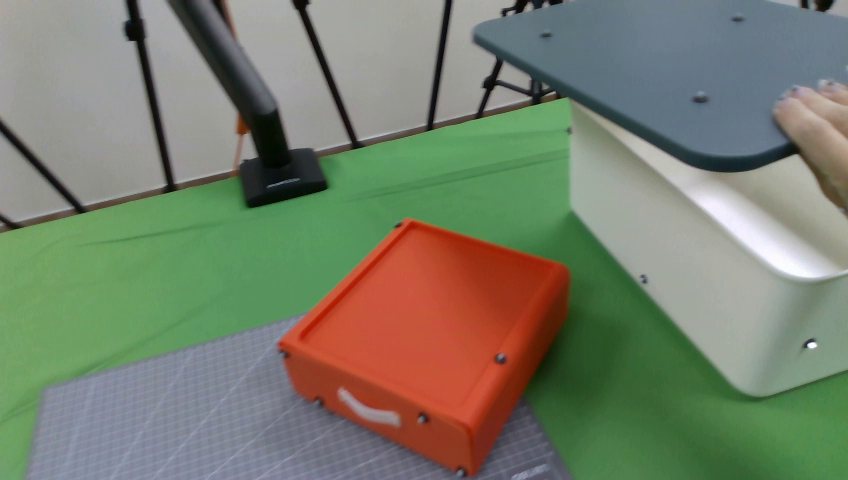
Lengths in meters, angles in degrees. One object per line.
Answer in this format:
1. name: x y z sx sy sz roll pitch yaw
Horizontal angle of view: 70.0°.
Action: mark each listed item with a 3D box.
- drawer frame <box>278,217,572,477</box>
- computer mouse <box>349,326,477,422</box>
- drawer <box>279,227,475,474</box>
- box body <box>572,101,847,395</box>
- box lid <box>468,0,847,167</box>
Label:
1. drawer frame: 0.008 0.085 0.585 0.200 0.083 0.213 17 43 27
2. computer mouse: -0.010 0.121 0.567 0.116 0.041 0.062 22 42 23
3. drawer: 0.007 0.089 0.583 0.193 0.074 0.211 17 42 28
4. box body: 0.341 -0.039 0.635 0.254 0.162 0.360 -14 39 -10
5. box lid: 0.223 -0.168 0.523 0.264 0.015 0.367 -19 36 -14
